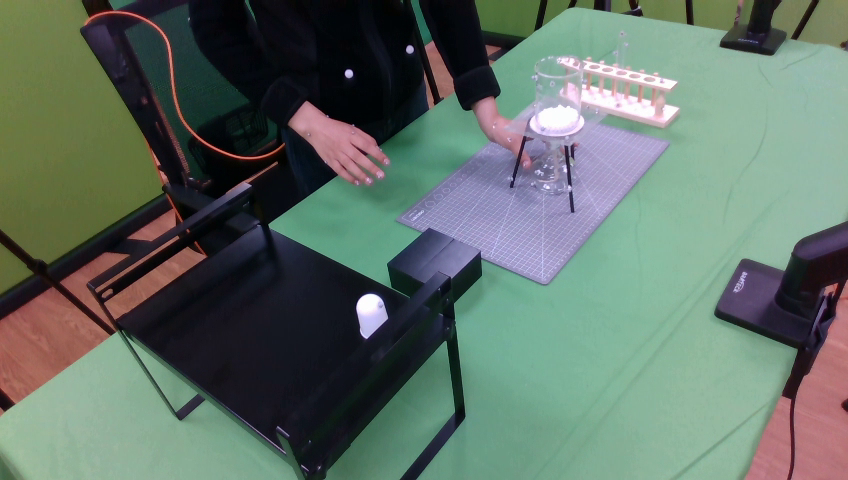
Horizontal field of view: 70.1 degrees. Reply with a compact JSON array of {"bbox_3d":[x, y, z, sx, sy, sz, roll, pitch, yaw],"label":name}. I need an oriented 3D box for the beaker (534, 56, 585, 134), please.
[{"bbox_3d":[0.209,-0.226,0.942,0.074,0.101,0.083,-2,41,7],"label":"beaker"}]

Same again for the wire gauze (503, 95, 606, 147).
[{"bbox_3d":[0.211,-0.191,0.976,0.120,0.011,0.125,24,52,32],"label":"wire gauze"}]

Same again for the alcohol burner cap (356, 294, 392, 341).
[{"bbox_3d":[-0.051,0.074,0.601,0.034,0.048,0.033,-5,42,5],"label":"alcohol burner cap"}]

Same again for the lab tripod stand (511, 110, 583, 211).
[{"bbox_3d":[0.220,-0.138,1.014,0.148,0.132,0.147,-3,41,3],"label":"lab tripod stand"}]

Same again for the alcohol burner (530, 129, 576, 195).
[{"bbox_3d":[0.220,-0.137,1.028,0.078,0.119,0.077,-5,42,5],"label":"alcohol burner"}]

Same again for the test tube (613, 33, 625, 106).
[{"bbox_3d":[0.380,-0.330,1.181,0.017,0.151,0.017,-7,41,6],"label":"test tube"}]

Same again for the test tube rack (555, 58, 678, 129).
[{"bbox_3d":[0.390,-0.307,1.229,0.240,0.085,0.067,25,51,33],"label":"test tube rack"}]
